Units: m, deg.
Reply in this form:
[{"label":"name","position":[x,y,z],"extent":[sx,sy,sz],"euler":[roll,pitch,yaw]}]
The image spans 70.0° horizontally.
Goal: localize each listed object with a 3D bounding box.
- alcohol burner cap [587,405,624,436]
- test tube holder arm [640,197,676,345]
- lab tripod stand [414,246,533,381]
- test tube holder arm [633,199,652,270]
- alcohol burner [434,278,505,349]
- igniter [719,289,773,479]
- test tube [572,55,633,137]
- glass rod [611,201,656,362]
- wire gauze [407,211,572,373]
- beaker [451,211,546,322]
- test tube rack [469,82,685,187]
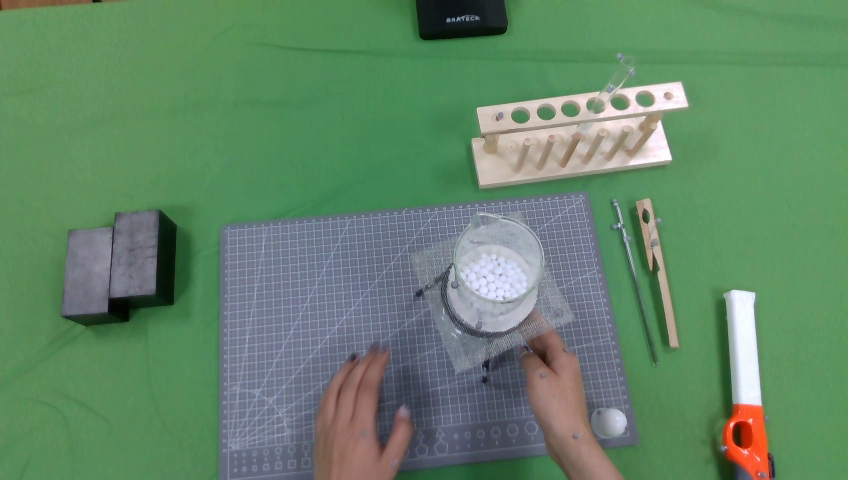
[{"label":"alcohol burner cap","position":[0.196,0.191,0.646],"extent":[0.034,0.048,0.033],"euler":[0,72,1]},{"label":"test tube holder arm","position":[0.275,0.035,0.713],"extent":[0.013,0.015,0.177],"euler":[-15,71,28]},{"label":"lab tripod stand","position":[0.055,0.068,0.636],"extent":[0.148,0.132,0.147],"euler":[0,72,1]},{"label":"test tube holder arm","position":[0.266,-0.007,0.729],"extent":[0.010,0.015,0.087],"euler":[-15,70,28]},{"label":"alcohol burner","position":[0.049,0.074,0.644],"extent":[0.078,0.120,0.077],"euler":[0,70,0]},{"label":"igniter","position":[0.348,0.189,0.661],"extent":[0.057,0.025,0.275],"euler":[8,72,-8]},{"label":"test tube","position":[0.199,-0.158,0.689],"extent":[0.017,0.151,0.017],"euler":[2,70,-6]},{"label":"glass rod","position":[0.245,0.045,0.715],"extent":[0.008,0.008,0.198],"euler":[-7,72,-4]},{"label":"wire gauze","position":[0.061,0.045,0.574],"extent":[0.121,0.011,0.124],"euler":[-22,75,-4]},{"label":"beaker","position":[0.058,0.027,0.529],"extent":[0.074,0.101,0.083],"euler":[-20,72,-5]},{"label":"test tube rack","position":[0.181,-0.125,0.730],"extent":[0.242,0.085,0.066],"euler":[-8,72,-3]}]
